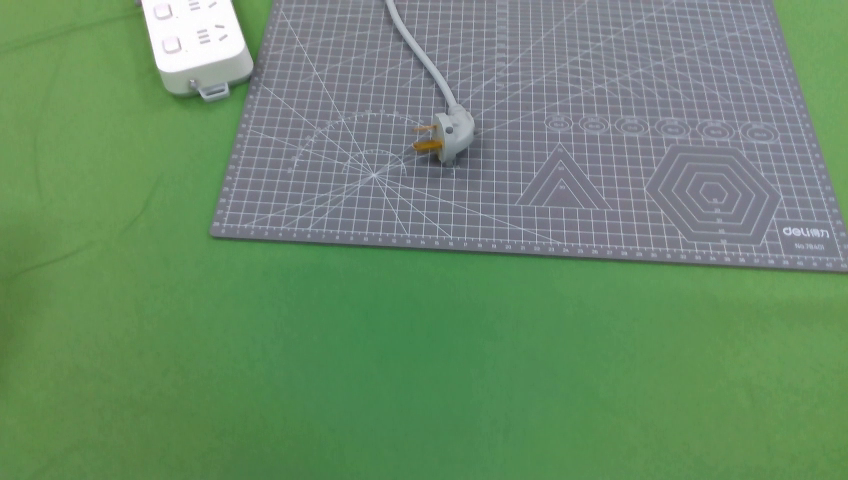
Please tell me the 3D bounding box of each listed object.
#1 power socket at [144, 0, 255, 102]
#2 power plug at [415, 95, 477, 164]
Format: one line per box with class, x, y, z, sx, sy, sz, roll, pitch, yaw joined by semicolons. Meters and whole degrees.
power socket;-0.205;-0.212;0.526;0.072;0.033;0.224;-18;62;-11
power plug;0.017;-0.080;0.425;0.035;0.072;0.052;-1;92;10
